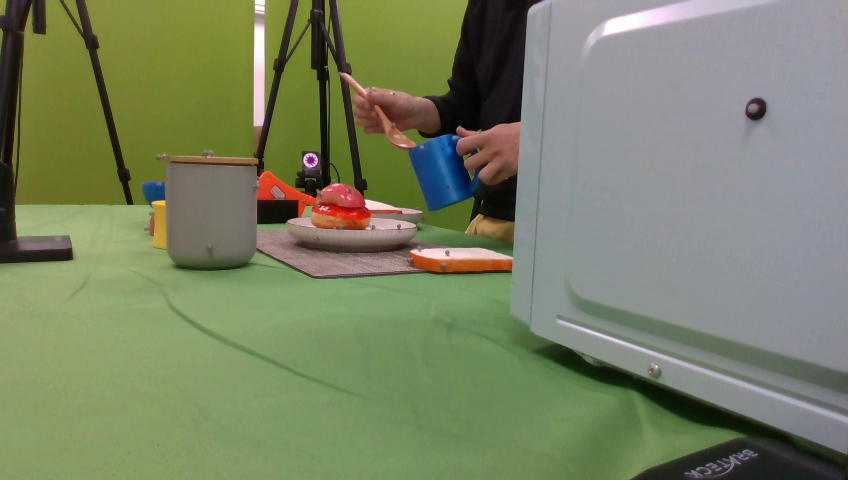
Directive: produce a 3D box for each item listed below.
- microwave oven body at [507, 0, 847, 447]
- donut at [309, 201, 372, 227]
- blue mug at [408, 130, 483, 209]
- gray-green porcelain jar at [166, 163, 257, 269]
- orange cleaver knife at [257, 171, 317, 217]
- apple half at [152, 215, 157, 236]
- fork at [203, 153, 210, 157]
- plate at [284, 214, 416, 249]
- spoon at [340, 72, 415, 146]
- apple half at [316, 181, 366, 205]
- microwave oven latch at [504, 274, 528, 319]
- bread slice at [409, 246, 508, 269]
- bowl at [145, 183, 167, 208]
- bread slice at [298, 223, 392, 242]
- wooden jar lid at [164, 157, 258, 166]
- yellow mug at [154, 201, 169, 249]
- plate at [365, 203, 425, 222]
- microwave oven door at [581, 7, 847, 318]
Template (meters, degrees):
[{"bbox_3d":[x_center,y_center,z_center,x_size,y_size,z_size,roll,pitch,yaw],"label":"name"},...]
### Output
[{"bbox_3d":[0.331,-0.042,0.425,0.444,0.260,0.324,-2,8,-31],"label":"microwave oven body"},{"bbox_3d":[-0.132,-0.042,0.959,0.099,0.048,0.099,3,8,0],"label":"donut"},{"bbox_3d":[0.043,-0.118,0.967,0.116,0.106,0.083,-21,0,35],"label":"blue mug"},{"bbox_3d":[-0.263,-0.031,0.754,0.106,0.126,0.106,2,7,0],"label":"gray-green porcelain jar"},{"bbox_3d":[-0.283,-0.087,1.343,0.212,0.077,0.012,24,-16,-41],"label":"orange cleaver knife"},{"bbox_3d":[-0.415,-0.034,1.017,0.081,0.053,0.074,1,10,-8],"label":"apple half"},{"bbox_3d":[-0.480,-0.134,1.411,0.028,0.018,0.207,1,-35,0],"label":"fork"},{"bbox_3d":[-0.116,-0.014,0.967,0.208,0.039,0.207,2,8,0],"label":"plate"},{"bbox_3d":[-0.081,-0.221,1.008,0.042,0.021,0.193,-21,66,-43],"label":"spoon"},{"bbox_3d":[-0.128,-0.077,0.954,0.081,0.033,0.081,6,13,-1],"label":"apple half"},{"bbox_3d":[0.100,0.041,0.471,0.079,0.029,0.030,-1,7,-27],"label":"microwave oven latch"},{"bbox_3d":[0.048,0.022,0.816,0.132,0.019,0.104,0,7,-24],"label":"bread slice"},{"bbox_3d":[-0.459,-0.068,1.175,0.151,0.077,0.151,2,7,0],"label":"bowl"},{"bbox_3d":[-0.121,-0.014,0.970,0.106,0.018,0.135,9,10,41],"label":"bread slice"},{"bbox_3d":[-0.261,-0.093,0.746,0.108,0.020,0.108,0,9,0],"label":"wooden jar lid"},{"bbox_3d":[-0.337,-0.022,0.899,0.130,0.064,0.100,8,9,34],"label":"yellow mug"},{"bbox_3d":[-0.102,-0.053,1.299,0.209,0.038,0.209,2,8,0],"label":"plate"},{"bbox_3d":[0.295,-0.067,0.569,0.358,0.243,0.039,-3,8,-31],"label":"microwave oven door"}]
